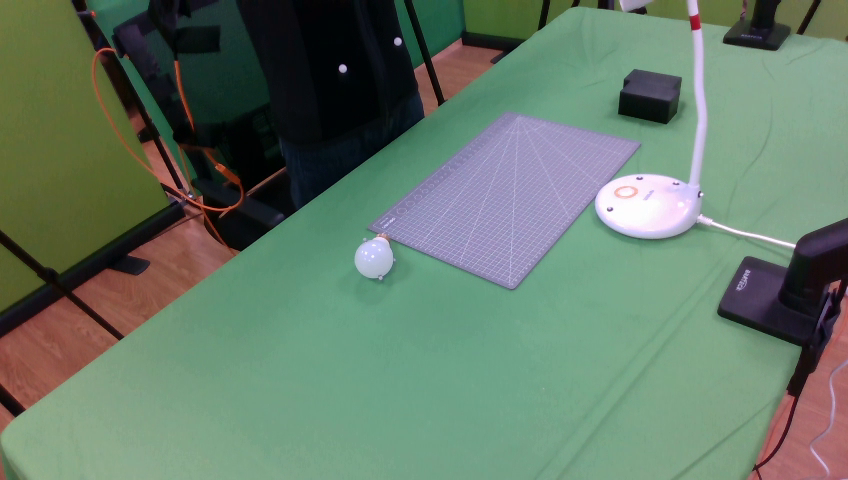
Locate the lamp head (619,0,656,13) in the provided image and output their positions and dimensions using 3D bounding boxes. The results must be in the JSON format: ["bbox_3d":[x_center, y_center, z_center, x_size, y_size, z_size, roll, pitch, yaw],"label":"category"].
[{"bbox_3d":[0.282,-0.338,0.715,0.122,0.113,0.112,-9,40,15],"label":"lamp head"}]

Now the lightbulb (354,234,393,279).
[{"bbox_3d":[-0.075,0.020,0.952,0.059,0.060,0.107,-2,25,9],"label":"lightbulb"}]

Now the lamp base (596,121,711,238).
[{"bbox_3d":[0.363,-0.113,0.925,0.178,0.181,0.161,17,47,24],"label":"lamp base"}]
